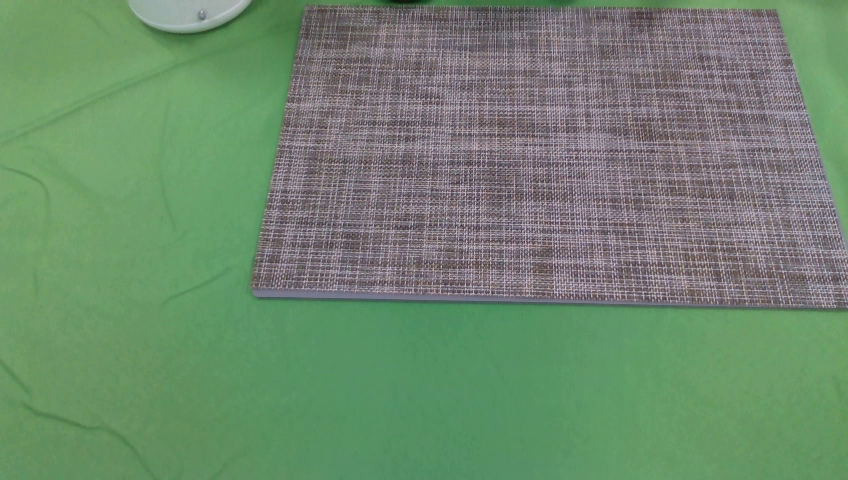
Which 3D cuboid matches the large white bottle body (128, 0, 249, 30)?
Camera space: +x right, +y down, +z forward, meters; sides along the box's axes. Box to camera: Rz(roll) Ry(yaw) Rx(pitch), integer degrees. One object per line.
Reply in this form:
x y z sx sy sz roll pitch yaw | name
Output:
-0.233 -0.296 0.529 0.130 0.186 0.129 -1 63 2 | large white bottle body
